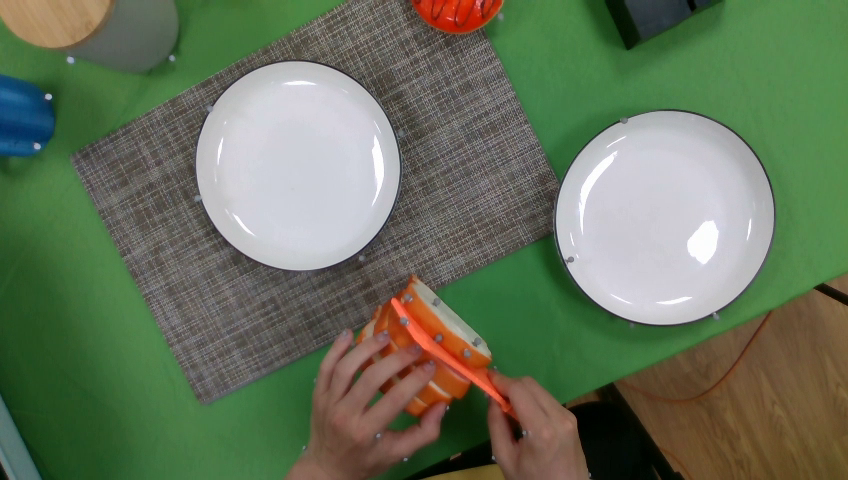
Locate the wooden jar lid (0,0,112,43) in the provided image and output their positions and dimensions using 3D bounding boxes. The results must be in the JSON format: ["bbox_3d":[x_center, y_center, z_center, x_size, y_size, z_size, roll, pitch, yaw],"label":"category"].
[{"bbox_3d":[-0.308,-0.219,0.508,0.108,0.020,0.108,0,94,5],"label":"wooden jar lid"}]

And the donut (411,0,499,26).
[{"bbox_3d":[0.030,-0.255,0.580,0.099,0.048,0.099,0,96,4],"label":"donut"}]

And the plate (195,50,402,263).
[{"bbox_3d":[-0.124,-0.081,0.612,0.207,0.039,0.208,0,96,4],"label":"plate"}]

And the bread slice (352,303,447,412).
[{"bbox_3d":[-0.025,0.113,0.581,0.105,0.131,0.019,42,100,0],"label":"bread slice"}]

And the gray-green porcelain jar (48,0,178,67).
[{"bbox_3d":[-0.303,-0.224,0.569,0.106,0.126,0.106,0,95,4],"label":"gray-green porcelain jar"}]

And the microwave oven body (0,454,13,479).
[{"bbox_3d":[-0.622,0.228,0.566,0.326,0.260,0.442,-23,94,5],"label":"microwave oven body"}]

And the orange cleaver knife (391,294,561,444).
[{"bbox_3d":[0.049,0.118,0.552,0.012,0.076,0.213,-46,115,7],"label":"orange cleaver knife"}]

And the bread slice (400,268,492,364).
[{"bbox_3d":[0.022,0.074,0.574,0.107,0.134,0.018,40,93,-4],"label":"bread slice"}]

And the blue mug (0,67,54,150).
[{"bbox_3d":[-0.450,-0.121,0.600,0.082,0.106,0.116,38,97,0],"label":"blue mug"}]

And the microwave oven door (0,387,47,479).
[{"bbox_3d":[-0.471,0.210,0.548,0.039,0.243,0.356,-24,93,6],"label":"microwave oven door"}]

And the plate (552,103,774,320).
[{"bbox_3d":[0.229,-0.027,0.596,0.209,0.038,0.209,0,96,4],"label":"plate"}]
